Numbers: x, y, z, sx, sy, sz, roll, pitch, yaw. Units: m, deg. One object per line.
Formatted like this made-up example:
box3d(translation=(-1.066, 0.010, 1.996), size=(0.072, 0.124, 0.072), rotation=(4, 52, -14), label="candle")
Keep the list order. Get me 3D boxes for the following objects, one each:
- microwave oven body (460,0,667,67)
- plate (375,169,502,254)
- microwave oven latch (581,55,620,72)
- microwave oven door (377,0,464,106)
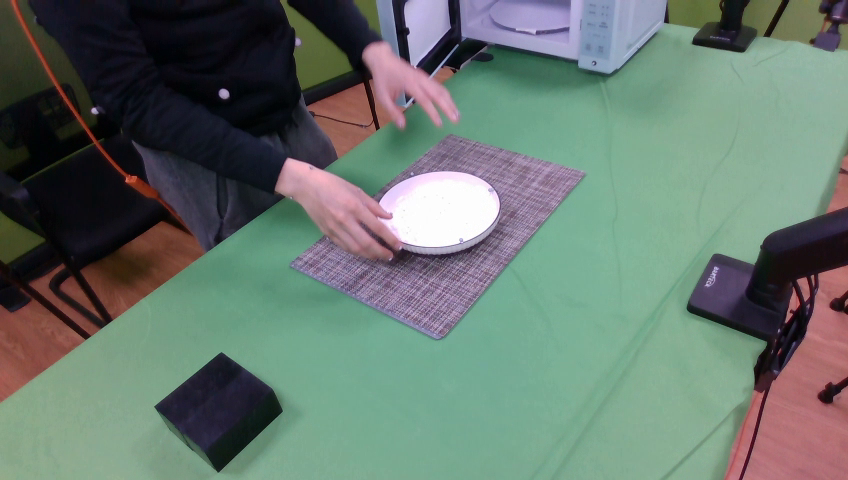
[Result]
box3d(translation=(0.324, -0.608, 1.437), size=(0.438, 0.261, 0.327), rotation=(22, 50, 31), label="microwave oven body")
box3d(translation=(0.024, -0.044, 0.998), size=(0.209, 0.038, 0.208), rotation=(-4, 41, 4), label="plate")
box3d(translation=(0.386, -0.393, 1.330), size=(0.078, 0.029, 0.030), rotation=(25, 51, 32), label="microwave oven latch")
box3d(translation=(0.003, -0.493, 1.343), size=(0.039, 0.245, 0.356), rotation=(11, 44, 21), label="microwave oven door")
